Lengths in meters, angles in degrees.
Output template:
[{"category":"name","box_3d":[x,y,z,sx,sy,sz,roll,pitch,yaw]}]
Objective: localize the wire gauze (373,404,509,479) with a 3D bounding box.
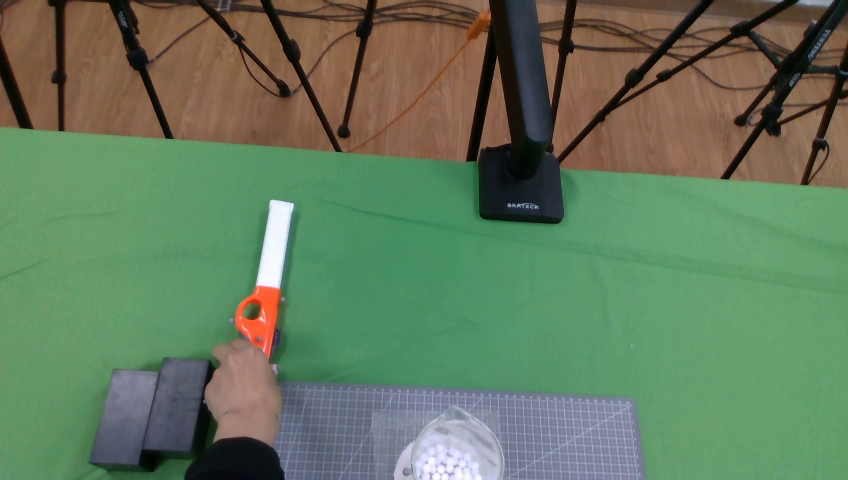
[{"category":"wire gauze","box_3d":[0.016,0.214,0.561,0.125,0.011,0.120,-1,59,-4]}]

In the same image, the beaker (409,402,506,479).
[{"category":"beaker","box_3d":[0.023,0.192,0.519,0.074,0.101,0.083,0,59,-5]}]

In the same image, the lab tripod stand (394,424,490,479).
[{"category":"lab tripod stand","box_3d":[0.011,0.248,0.618,0.148,0.132,0.147,2,60,-3]}]

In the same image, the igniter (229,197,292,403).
[{"category":"igniter","box_3d":[-0.200,0.067,0.759,0.057,0.025,0.274,10,61,-13]}]
